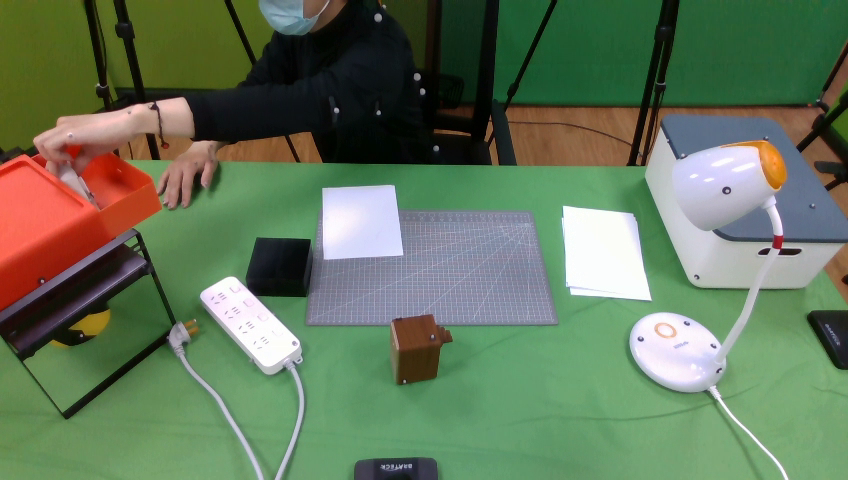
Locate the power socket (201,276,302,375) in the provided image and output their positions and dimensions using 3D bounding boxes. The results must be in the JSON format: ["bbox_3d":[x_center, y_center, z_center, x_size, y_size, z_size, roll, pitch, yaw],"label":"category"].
[{"bbox_3d":[-0.297,0.141,1.034,0.072,0.033,0.225,-34,58,-30],"label":"power socket"}]

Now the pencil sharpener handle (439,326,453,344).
[{"bbox_3d":[0.036,0.155,0.976,0.031,0.068,0.036,-8,70,-11],"label":"pencil sharpener handle"}]

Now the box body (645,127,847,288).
[{"bbox_3d":[0.625,-0.080,1.222,0.254,0.161,0.361,0,46,-3],"label":"box body"}]

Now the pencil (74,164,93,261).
[{"bbox_3d":[-0.532,-0.047,0.943,0.012,0.012,0.193,-16,60,-18],"label":"pencil"}]

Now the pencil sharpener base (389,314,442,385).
[{"bbox_3d":[-0.014,0.175,0.971,0.077,0.107,0.061,-8,47,-12],"label":"pencil sharpener base"}]

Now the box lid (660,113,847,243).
[{"bbox_3d":[0.628,-0.132,1.170,0.263,0.015,0.369,1,46,-3],"label":"box lid"}]

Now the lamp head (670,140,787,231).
[{"bbox_3d":[0.415,-0.078,0.811,0.113,0.123,0.112,12,70,-37],"label":"lamp head"}]

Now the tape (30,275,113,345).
[{"bbox_3d":[-0.593,0.117,1.021,0.117,0.053,0.116,3,46,-2],"label":"tape"}]

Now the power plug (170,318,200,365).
[{"bbox_3d":[-0.393,0.167,1.015,0.052,0.035,0.072,-30,92,-23],"label":"power plug"}]

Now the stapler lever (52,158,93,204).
[{"bbox_3d":[-0.540,-0.084,0.935,0.027,0.040,0.117,-29,54,-25],"label":"stapler lever"}]

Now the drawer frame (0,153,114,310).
[{"bbox_3d":[-0.606,-0.009,0.872,0.201,0.083,0.213,30,52,22],"label":"drawer frame"}]

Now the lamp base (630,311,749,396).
[{"bbox_3d":[0.447,0.143,0.983,0.161,0.181,0.178,-24,55,-24],"label":"lamp base"}]

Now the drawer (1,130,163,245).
[{"bbox_3d":[-0.551,-0.060,0.927,0.193,0.073,0.211,31,52,23],"label":"drawer"}]

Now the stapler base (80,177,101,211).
[{"bbox_3d":[-0.542,-0.067,0.953,0.041,0.024,0.130,-29,54,-25],"label":"stapler base"}]
